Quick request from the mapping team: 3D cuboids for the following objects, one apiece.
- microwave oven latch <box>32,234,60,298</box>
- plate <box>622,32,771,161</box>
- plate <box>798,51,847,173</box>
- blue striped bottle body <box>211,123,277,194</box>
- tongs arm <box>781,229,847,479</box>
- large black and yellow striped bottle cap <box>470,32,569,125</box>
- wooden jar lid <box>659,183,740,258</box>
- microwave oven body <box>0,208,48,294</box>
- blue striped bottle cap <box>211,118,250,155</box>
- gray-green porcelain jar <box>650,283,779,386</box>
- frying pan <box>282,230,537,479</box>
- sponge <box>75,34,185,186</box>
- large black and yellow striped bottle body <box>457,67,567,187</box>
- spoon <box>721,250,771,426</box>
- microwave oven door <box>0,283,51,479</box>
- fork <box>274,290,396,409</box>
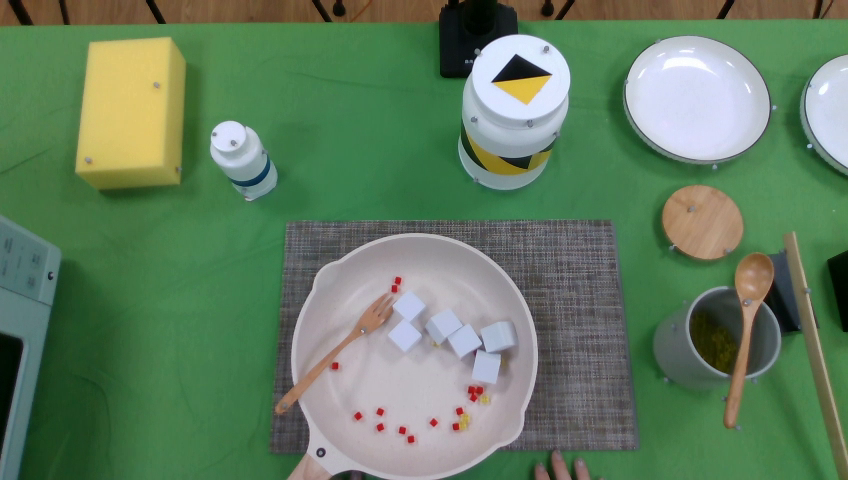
[{"bbox_3d":[-0.493,0.033,0.778,0.030,0.029,0.078,3,72,0],"label":"microwave oven latch"},{"bbox_3d":[0.388,-0.204,0.877,0.208,0.039,0.206,0,72,0],"label":"plate"},{"bbox_3d":[0.638,-0.175,0.867,0.209,0.038,0.208,0,72,0],"label":"plate"},{"bbox_3d":[-0.240,-0.112,0.801,0.063,0.121,0.062,0,71,0],"label":"blue striped bottle body"},{"bbox_3d":[0.489,0.173,0.718,0.051,0.026,0.383,-7,84,-6],"label":"tongs arm"},{"bbox_3d":[0.111,-0.190,0.707,0.115,0.019,0.114,0,73,0],"label":"large black and yellow striped bottle cap"},{"bbox_3d":[0.375,-0.026,0.828,0.108,0.021,0.107,0,73,0],"label":"wooden jar lid"},{"bbox_3d":[-0.642,0.169,0.631,0.326,0.261,0.439,0,72,0],"label":"microwave oven body"},{"bbox_3d":[-0.241,-0.129,0.753,0.044,0.021,0.044,0,73,0],"label":"blue striped bottle cap"},{"bbox_3d":[0.338,0.118,0.725,0.106,0.127,0.105,0,71,0],"label":"gray-green porcelain jar"},{"bbox_3d":[-0.079,0.204,0.705,0.305,0.103,0.487,39,68,13],"label":"frying pan"},{"bbox_3d":[-0.411,-0.185,0.856,0.118,0.061,0.205,-5,73,-2],"label":"sponge"},{"bbox_3d":[0.111,-0.162,0.786,0.131,0.185,0.130,0,71,0],"label":"large black and yellow striped bottle body"},{"bbox_3d":[0.343,0.104,0.656,0.041,0.022,0.193,17,76,2],"label":"spoon"},{"bbox_3d":[-0.497,0.208,0.614,0.039,0.245,0.353,0,72,0],"label":"microwave oven door"},{"bbox_3d":[-0.105,0.130,0.738,0.028,0.019,0.207,43,52,6],"label":"fork"}]
